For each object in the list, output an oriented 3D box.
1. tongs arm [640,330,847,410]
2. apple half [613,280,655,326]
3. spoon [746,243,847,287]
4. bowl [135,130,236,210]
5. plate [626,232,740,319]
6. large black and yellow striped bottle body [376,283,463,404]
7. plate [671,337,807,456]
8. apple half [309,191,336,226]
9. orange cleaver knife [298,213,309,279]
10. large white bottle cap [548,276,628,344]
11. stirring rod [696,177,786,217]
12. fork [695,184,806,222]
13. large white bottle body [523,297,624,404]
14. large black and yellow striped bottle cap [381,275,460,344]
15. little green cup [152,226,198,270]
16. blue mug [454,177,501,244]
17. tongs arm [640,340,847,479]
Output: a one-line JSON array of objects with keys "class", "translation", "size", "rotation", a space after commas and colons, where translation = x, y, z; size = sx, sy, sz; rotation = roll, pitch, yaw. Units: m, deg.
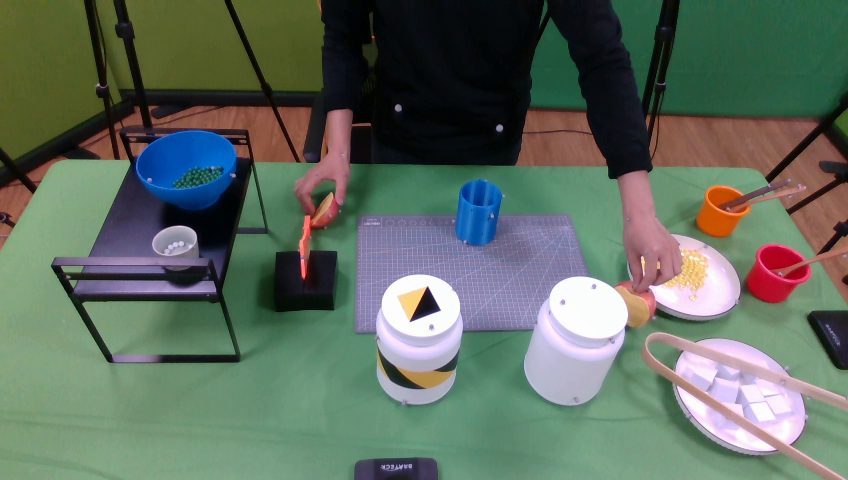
[{"class": "tongs arm", "translation": [0.543, 0.225, 0.969], "size": [0.384, 0.026, 0.050], "rotation": [22, 52, 13]}, {"class": "apple half", "translation": [0.371, 0.107, 1.067], "size": [0.053, 0.075, 0.080], "rotation": [-29, 43, -35]}, {"class": "spoon", "translation": [0.702, 0.044, 1.126], "size": [0.194, 0.022, 0.041], "rotation": [-29, 38, 30]}, {"class": "bowl", "translation": [-0.375, -0.102, 0.978], "size": [0.151, 0.077, 0.150], "rotation": [2, 46, -2]}, {"class": "plate", "translation": [0.489, 0.070, 1.156], "size": [0.209, 0.038, 0.208], "rotation": [3, 46, -2]}, {"class": "large black and yellow striped bottle body", "translation": [-0.010, 0.155, 0.937], "size": [0.131, 0.185, 0.130], "rotation": [2, 47, -2]}, {"class": "plate", "translation": [0.504, 0.254, 0.984], "size": [0.208, 0.039, 0.206], "rotation": [2, 46, -2]}, {"class": "apple half", "translation": [-0.196, -0.059, 1.216], "size": [0.033, 0.081, 0.081], "rotation": [35, 43, -20]}, {"class": "orange cleaver knife", "translation": [-0.223, 0.007, 1.130], "size": [0.012, 0.077, 0.210], "rotation": [-4, 21, -6]}, {"class": "large white bottle cap", "translation": [0.240, 0.100, 0.890], "size": [0.115, 0.018, 0.114], "rotation": [3, 47, -3]}, {"class": "stirring rod", "translation": [0.648, -0.087, 1.244], "size": [0.176, 0.006, 0.014], "rotation": [-25, 51, 29]}, {"class": "fork", "translation": [0.658, -0.074, 1.229], "size": [0.207, 0.019, 0.028], "rotation": [-24, 34, 36]}, {"class": "large white bottle body", "translation": [0.235, 0.159, 0.952], "size": [0.131, 0.185, 0.130], "rotation": [2, 47, -2]}, {"class": "large black and yellow striped bottle cap", "translation": [-0.005, 0.098, 0.874], "size": [0.115, 0.019, 0.114], "rotation": [2, 45, -1]}, {"class": "little green cup", "translation": [-0.364, 0.013, 0.894], "size": [0.061, 0.039, 0.061], "rotation": [3, 46, -3]}, {"class": "blue mug", "translation": [0.106, -0.067, 1.208], "size": [0.082, 0.106, 0.116], "rotation": [6, 46, 1]}, {"class": "tongs arm", "translation": [0.500, 0.277, 0.919], "size": [0.386, 0.028, 0.028], "rotation": [34, 59, 22]}]
